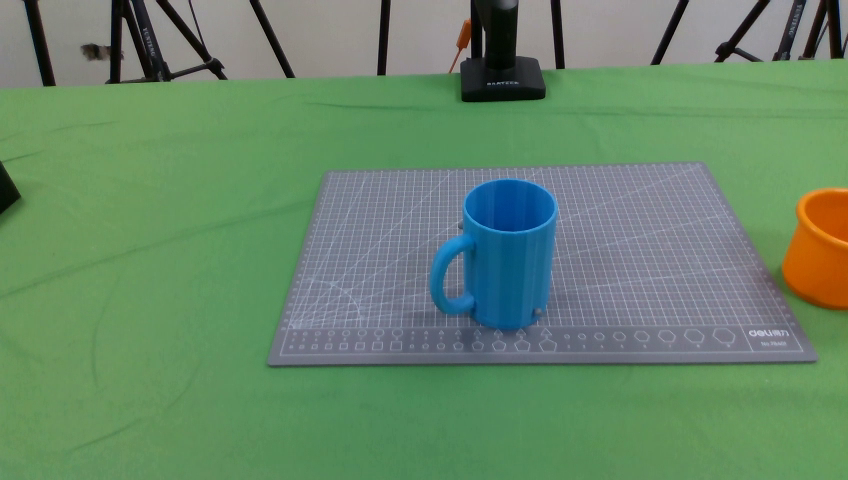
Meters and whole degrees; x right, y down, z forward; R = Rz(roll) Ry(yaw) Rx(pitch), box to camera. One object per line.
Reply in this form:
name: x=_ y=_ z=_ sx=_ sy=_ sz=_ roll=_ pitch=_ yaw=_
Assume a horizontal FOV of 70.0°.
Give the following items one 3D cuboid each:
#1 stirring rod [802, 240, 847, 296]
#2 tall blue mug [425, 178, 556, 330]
stirring rod: x=0.391 y=-0.020 z=0.516 sx=0.176 sy=0.006 sz=0.014 roll=-51 pitch=39 yaw=11
tall blue mug: x=0.060 y=0.021 z=0.508 sx=0.077 sy=0.109 sz=0.107 roll=21 pitch=45 yaw=25
